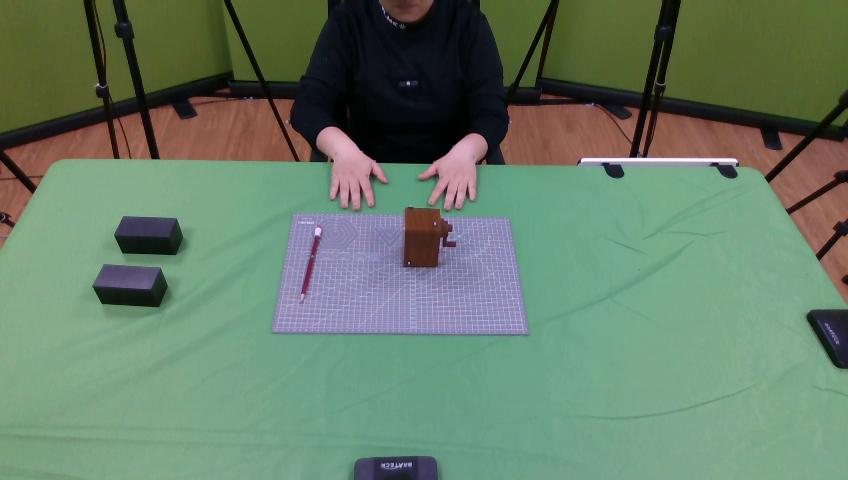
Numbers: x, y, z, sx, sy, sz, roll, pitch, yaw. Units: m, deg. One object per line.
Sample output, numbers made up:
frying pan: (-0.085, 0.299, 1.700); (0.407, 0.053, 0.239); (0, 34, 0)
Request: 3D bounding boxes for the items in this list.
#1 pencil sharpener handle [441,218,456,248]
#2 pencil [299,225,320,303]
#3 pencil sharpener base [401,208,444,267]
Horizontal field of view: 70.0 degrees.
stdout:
pencil sharpener handle: (0.047, -0.011, 1.132); (0.031, 0.068, 0.036); (1, 45, -3)
pencil: (-0.217, 0.042, 1.144); (0.012, 0.012, 0.193); (4, 46, 0)
pencil sharpener base: (-0.005, -0.003, 1.137); (0.077, 0.107, 0.061); (1, 45, -4)
